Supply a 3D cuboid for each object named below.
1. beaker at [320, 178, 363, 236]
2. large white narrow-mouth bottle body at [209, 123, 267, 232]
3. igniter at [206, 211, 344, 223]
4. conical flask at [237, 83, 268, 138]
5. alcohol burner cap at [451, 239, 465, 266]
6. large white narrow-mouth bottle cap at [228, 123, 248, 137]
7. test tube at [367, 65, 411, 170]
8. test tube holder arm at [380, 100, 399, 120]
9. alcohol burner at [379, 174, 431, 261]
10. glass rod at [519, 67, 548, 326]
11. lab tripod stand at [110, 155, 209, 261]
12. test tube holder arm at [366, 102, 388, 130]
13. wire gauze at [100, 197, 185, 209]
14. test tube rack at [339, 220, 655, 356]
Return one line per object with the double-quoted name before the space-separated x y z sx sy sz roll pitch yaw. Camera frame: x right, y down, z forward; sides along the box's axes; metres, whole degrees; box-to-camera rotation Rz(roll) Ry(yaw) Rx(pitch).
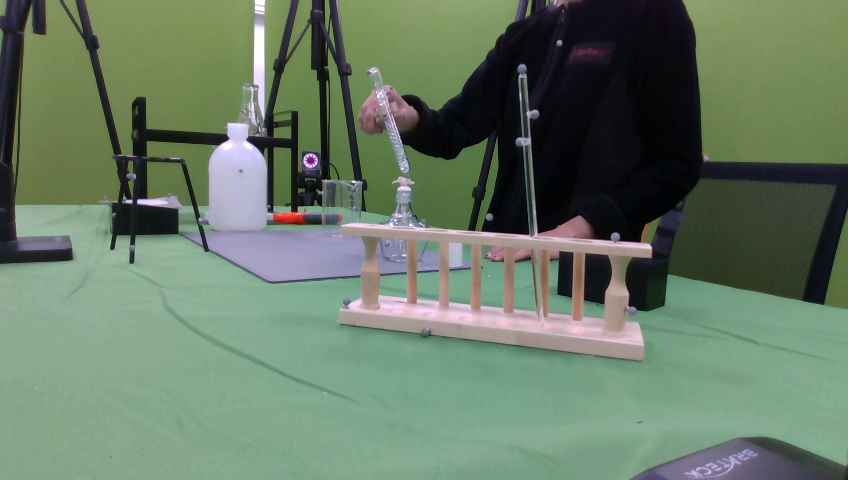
"beaker" -0.145 -0.059 1.079 0.074 0.100 0.083 -4 10 -36
"large white narrow-mouth bottle body" -0.340 -0.115 1.109 0.102 0.194 0.102 2 8 0
"igniter" -0.302 -0.048 1.249 0.278 0.025 0.057 -2 -2 -26
"conical flask" -0.402 -0.299 1.406 0.075 0.122 0.075 2 7 0
"alcohol burner cap" 0.040 0.010 0.815 0.034 0.048 0.034 4 7 0
"large white narrow-mouth bottle cap" -0.338 -0.199 1.097 0.038 0.024 0.037 2 8 0
"test tube" -0.047 -0.167 0.827 0.017 0.150 0.017 -19 0 0
"test tube holder arm" -0.054 -0.182 0.851 0.010 0.015 0.087 -15 6 -20
"alcohol burner" -0.027 -0.031 0.838 0.078 0.119 0.078 0 6 0
"glass rod" 0.084 -0.029 0.459 0.008 0.199 0.008 -6 11 2
"lab tripod stand" -0.361 -0.046 0.806 0.148 0.131 0.148 2 5 0
"test tube holder arm" -0.071 -0.181 0.892 0.013 0.015 0.178 -14 5 -13
"wire gauze" -0.469 -0.062 1.008 0.126 0.011 0.121 -2 8 -25
"test tube rack" 0.056 0.032 0.495 0.242 0.085 0.067 4 7 15
